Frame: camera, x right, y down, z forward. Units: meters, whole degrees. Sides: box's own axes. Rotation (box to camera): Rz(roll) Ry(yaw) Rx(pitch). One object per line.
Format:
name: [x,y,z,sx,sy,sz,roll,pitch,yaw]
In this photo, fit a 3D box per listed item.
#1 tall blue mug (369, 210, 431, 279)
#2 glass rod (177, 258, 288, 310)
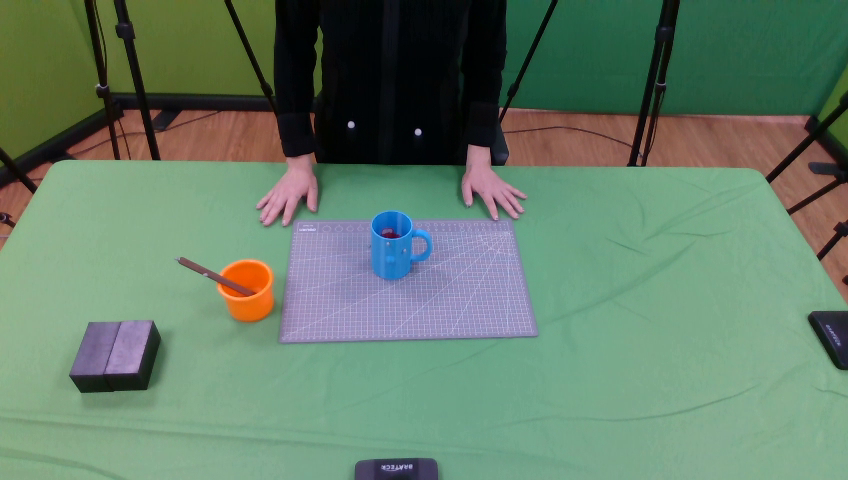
tall blue mug: [-0.049,0.005,1.125,0.107,0.108,0.077,-19,50,-21]
glass rod: [-0.318,0.076,1.019,0.200,0.008,0.008,29,41,-23]
